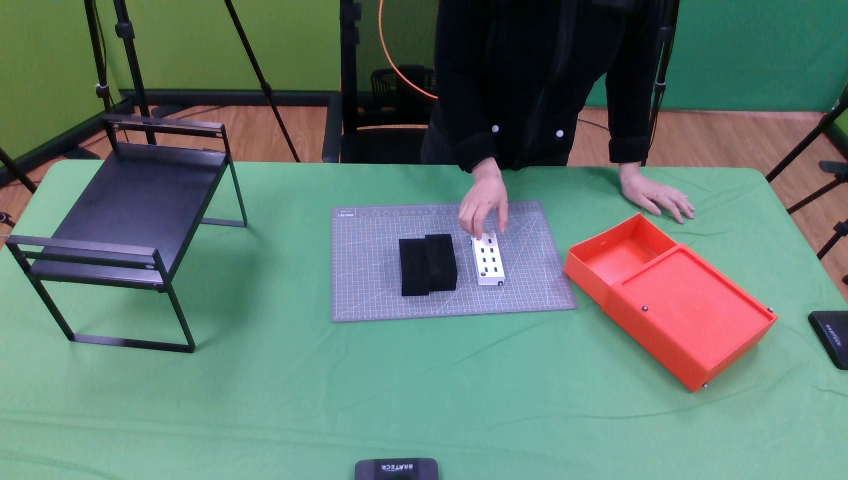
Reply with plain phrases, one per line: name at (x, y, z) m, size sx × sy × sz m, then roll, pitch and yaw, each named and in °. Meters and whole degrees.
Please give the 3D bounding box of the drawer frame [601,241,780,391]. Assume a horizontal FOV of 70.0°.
drawer frame at (0.462, 0.125, 1.065) m, size 0.202 × 0.083 × 0.212 m, roll -26°, pitch 54°, yaw -26°

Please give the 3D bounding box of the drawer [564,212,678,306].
drawer at (0.404, 0.064, 1.124) m, size 0.194 × 0.073 × 0.210 m, roll -24°, pitch 52°, yaw -25°

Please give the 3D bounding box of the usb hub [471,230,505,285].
usb hub at (0.121, 0.032, 1.168) m, size 0.049 × 0.025 × 0.124 m, roll -2°, pitch 46°, yaw -5°
